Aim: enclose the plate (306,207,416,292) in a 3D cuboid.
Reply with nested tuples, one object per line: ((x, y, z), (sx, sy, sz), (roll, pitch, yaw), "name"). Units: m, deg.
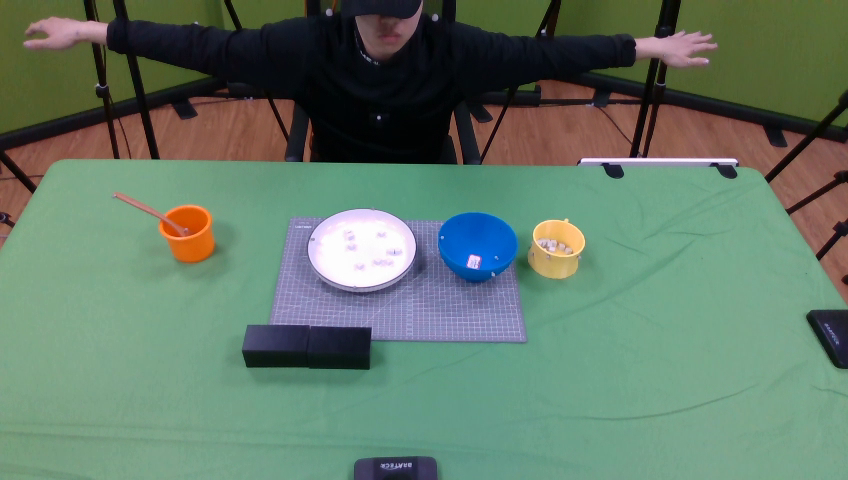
((-0.119, 0.021, 1.153), (0.209, 0.038, 0.208), (2, 46, -2), "plate")

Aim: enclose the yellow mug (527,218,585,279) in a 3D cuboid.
((0.261, 0.006, 1.181), (0.100, 0.064, 0.130), (18, 47, 14), "yellow mug")

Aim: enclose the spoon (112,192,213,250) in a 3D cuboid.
((-0.475, -0.036, 1.108), (0.021, 0.195, 0.041), (-34, 35, 25), "spoon")

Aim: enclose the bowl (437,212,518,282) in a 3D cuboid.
((0.096, 0.025, 1.138), (0.151, 0.077, 0.150), (3, 46, -2), "bowl")
